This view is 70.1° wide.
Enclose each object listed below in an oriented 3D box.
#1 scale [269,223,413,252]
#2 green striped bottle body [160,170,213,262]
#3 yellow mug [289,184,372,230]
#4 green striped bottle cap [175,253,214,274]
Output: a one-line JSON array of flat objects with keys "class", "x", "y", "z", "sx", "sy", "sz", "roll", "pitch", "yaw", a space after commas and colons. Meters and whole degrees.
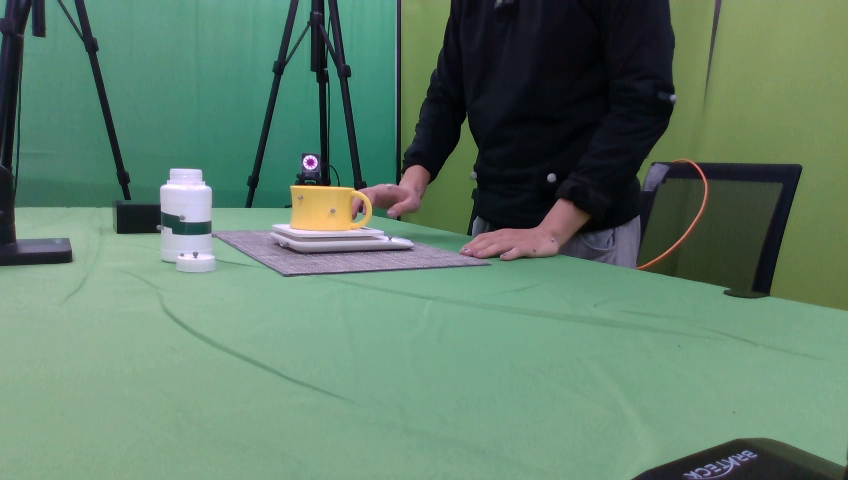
[{"class": "scale", "x": -0.132, "y": -0.007, "z": 0.965, "sx": 0.202, "sy": 0.031, "sz": 0.148, "roll": -2, "pitch": 8, "yaw": -31}, {"class": "green striped bottle body", "x": -0.312, "y": -0.033, "z": 0.797, "sx": 0.063, "sy": 0.119, "sz": 0.063, "roll": 1, "pitch": 7, "yaw": 0}, {"class": "yellow mug", "x": -0.145, "y": -0.052, "z": 0.944, "sx": 0.131, "sy": 0.064, "sz": 0.100, "roll": 4, "pitch": 7, "yaw": 9}, {"class": "green striped bottle cap", "x": -0.280, "y": 0.029, "z": 0.740, "sx": 0.044, "sy": 0.020, "sz": 0.044, "roll": 7, "pitch": 3, "yaw": 0}]
